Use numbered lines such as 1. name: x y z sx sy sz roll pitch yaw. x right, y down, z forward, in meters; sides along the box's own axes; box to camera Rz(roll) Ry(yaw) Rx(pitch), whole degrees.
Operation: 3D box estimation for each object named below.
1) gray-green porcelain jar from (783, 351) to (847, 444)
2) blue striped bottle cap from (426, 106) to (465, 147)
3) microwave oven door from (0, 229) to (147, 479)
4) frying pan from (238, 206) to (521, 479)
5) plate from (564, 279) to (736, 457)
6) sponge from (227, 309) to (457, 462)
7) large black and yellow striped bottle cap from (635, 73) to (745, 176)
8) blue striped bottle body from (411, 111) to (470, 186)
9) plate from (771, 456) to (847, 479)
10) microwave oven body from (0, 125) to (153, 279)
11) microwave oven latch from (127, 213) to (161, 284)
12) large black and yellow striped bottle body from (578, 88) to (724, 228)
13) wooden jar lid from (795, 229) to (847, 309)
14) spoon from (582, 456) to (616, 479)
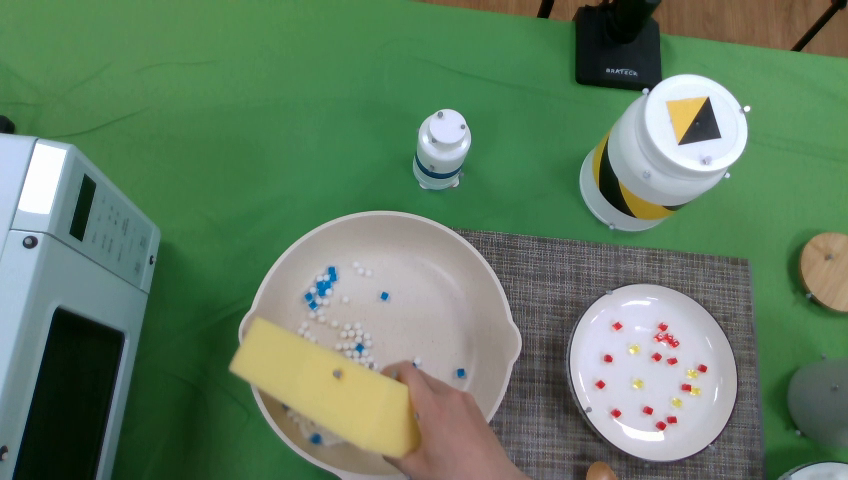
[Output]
1. gray-green porcelain jar: 0.498 0.183 0.704 0.106 0.127 0.105 2 74 -6
2. blue striped bottle cap: 0.025 -0.129 0.685 0.044 0.021 0.044 2 71 -4
3. microwave oven door: -0.333 0.190 0.529 0.039 0.244 0.354 6 74 -4
4. frying pan: -0.053 0.203 0.645 0.307 0.103 0.484 4 66 -3
5. plate: 0.267 0.151 0.729 0.209 0.038 0.208 2 75 -5
6. sponge: -0.085 0.141 0.602 0.205 0.119 0.060 14 74 40
7. large black and yellow striped bottle cap: 0.283 -0.124 0.645 0.115 0.019 0.114 2 73 -5
8. blue striped bottle body: 0.020 -0.115 0.734 0.063 0.121 0.062 2 74 -6
9. plate: 0.473 0.357 0.699 0.208 0.039 0.206 2 74 -6
10. microwave oven body: -0.474 0.135 0.534 0.326 0.261 0.439 6 75 -5
11. microwave oven latch: -0.322 0.009 0.686 0.030 0.029 0.079 9 74 -4
12. large black and yellow striped bottle body: 0.275 -0.101 0.727 0.131 0.184 0.130 2 74 -5
13. wooden jar lid: 0.542 0.039 0.803 0.108 0.021 0.108 1 76 -5
14. spoon: 0.249 0.324 0.689 0.193 0.022 0.041 46 58 5
